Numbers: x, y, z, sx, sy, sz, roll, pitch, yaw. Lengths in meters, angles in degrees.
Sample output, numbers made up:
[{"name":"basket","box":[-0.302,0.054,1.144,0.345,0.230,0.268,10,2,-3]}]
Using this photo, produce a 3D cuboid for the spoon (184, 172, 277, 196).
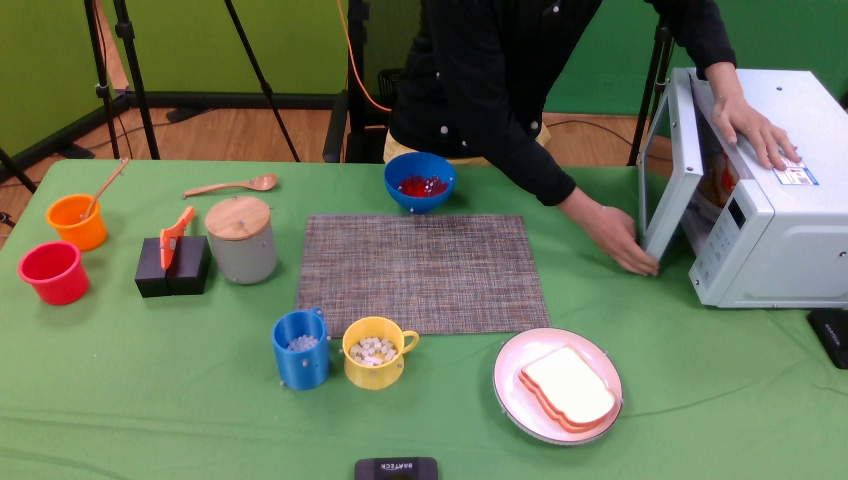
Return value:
[{"name":"spoon","box":[-0.406,-0.116,1.275,0.194,0.022,0.041,-8,65,-12]}]

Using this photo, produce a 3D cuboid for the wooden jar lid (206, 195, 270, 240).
[{"name":"wooden jar lid","box":[-0.320,-0.036,1.046,0.108,0.021,0.107,1,44,0]}]

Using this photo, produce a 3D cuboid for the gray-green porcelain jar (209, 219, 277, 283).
[{"name":"gray-green porcelain jar","box":[-0.323,0.007,1.092,0.106,0.127,0.105,2,46,-2]}]

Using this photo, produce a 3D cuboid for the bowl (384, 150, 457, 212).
[{"name":"bowl","box":[-0.009,-0.112,1.262,0.151,0.077,0.150,2,46,-2]}]

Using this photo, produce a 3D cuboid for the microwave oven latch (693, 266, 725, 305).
[{"name":"microwave oven latch","box":[0.523,0.082,1.115,0.030,0.029,0.078,2,46,0]}]

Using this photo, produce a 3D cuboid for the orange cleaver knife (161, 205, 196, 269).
[{"name":"orange cleaver knife","box":[-0.455,-0.010,1.129,0.012,0.077,0.210,-1,20,-5]}]

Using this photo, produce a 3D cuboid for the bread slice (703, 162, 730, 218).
[{"name":"bread slice","box":[0.648,-0.102,1.268,0.105,0.019,0.131,13,72,11]}]

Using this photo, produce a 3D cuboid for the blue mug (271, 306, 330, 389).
[{"name":"blue mug","box":[-0.188,0.163,0.969,0.082,0.106,0.116,15,47,10]}]

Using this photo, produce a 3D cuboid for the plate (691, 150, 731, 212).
[{"name":"plate","box":[0.653,-0.108,1.237,0.209,0.038,0.208,0,45,1]}]

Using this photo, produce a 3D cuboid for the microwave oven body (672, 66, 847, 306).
[{"name":"microwave oven body","box":[0.669,-0.111,1.176,0.326,0.261,0.439,0,46,-3]}]

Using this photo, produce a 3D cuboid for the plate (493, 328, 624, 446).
[{"name":"plate","box":[0.213,0.236,0.974,0.208,0.039,0.206,2,46,-2]}]

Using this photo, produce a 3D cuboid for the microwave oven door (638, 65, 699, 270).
[{"name":"microwave oven door","box":[0.476,-0.152,1.195,0.039,0.245,0.354,12,47,7]}]

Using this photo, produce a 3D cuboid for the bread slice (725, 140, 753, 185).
[{"name":"bread slice","box":[0.663,-0.147,1.199,0.107,0.018,0.133,1,54,10]}]

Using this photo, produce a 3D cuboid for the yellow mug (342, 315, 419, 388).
[{"name":"yellow mug","box":[-0.068,0.177,0.990,0.131,0.064,0.099,-15,50,-19]}]

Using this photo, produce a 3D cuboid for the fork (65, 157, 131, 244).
[{"name":"fork","box":[-0.609,-0.075,1.132,0.207,0.019,0.028,-51,51,10]}]

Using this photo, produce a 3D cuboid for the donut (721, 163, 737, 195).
[{"name":"donut","box":[0.648,-0.121,1.216,0.099,0.048,0.098,-3,56,4]}]
